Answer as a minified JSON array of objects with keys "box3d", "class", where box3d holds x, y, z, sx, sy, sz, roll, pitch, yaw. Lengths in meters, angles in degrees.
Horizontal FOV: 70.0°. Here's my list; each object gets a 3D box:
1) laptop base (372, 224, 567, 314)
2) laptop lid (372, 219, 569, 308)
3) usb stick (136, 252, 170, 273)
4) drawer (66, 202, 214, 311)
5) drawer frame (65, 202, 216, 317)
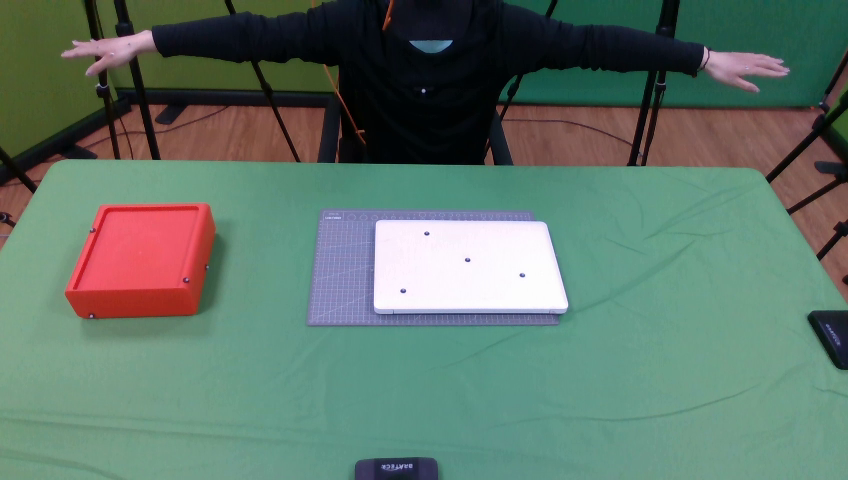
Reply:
[{"box3d":[0.080,0.049,1.158,0.355,0.023,0.234,0,43,-4],"class":"laptop base"},{"box3d":[0.081,0.039,1.152,0.357,0.013,0.240,2,44,-3],"class":"laptop lid"},{"box3d":[-0.498,0.040,1.106,0.059,0.027,0.021,11,46,6],"class":"usb stick"},{"box3d":[-0.500,0.026,1.091,0.195,0.073,0.210,0,46,-6],"class":"drawer"},{"box3d":[-0.497,0.029,1.090,0.202,0.083,0.212,-1,47,-6],"class":"drawer frame"}]
